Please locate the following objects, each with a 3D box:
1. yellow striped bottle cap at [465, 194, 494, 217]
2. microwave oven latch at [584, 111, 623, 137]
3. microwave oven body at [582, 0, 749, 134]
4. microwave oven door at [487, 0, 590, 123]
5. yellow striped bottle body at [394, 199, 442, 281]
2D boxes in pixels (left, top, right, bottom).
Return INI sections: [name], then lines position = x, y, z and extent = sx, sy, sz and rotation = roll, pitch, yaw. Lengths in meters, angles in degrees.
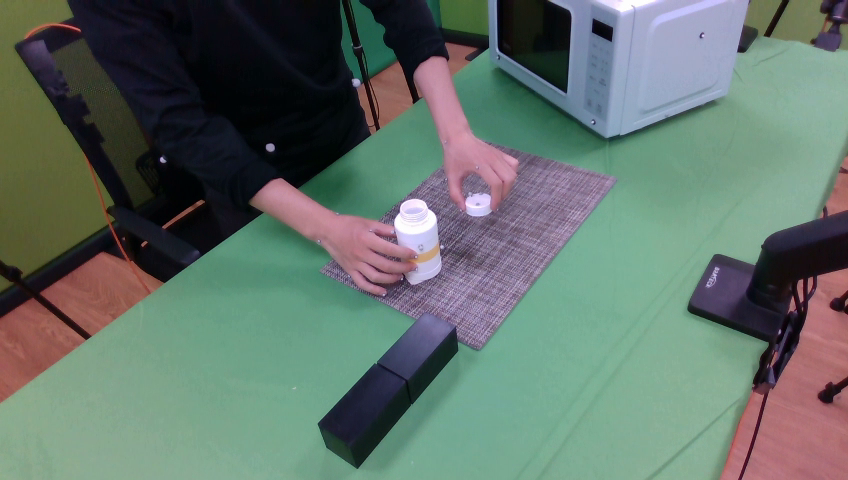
[yellow striped bottle cap]
position = 0.085, -0.053, 0.934
extent = 0.044, 0.019, 0.044
rotation = -4, 31, 3
[microwave oven latch]
position = 0.337, -0.222, 1.142
extent = 0.030, 0.029, 0.078
rotation = -21, 42, -14
[microwave oven body]
position = 0.382, -0.444, 1.246
extent = 0.327, 0.261, 0.437
rotation = -22, 42, -16
[microwave oven door]
position = 0.232, -0.420, 1.230
extent = 0.039, 0.245, 0.352
rotation = -22, 43, -16
[yellow striped bottle body]
position = -0.009, -0.002, 0.891
extent = 0.063, 0.121, 0.062
rotation = -4, 41, 4
